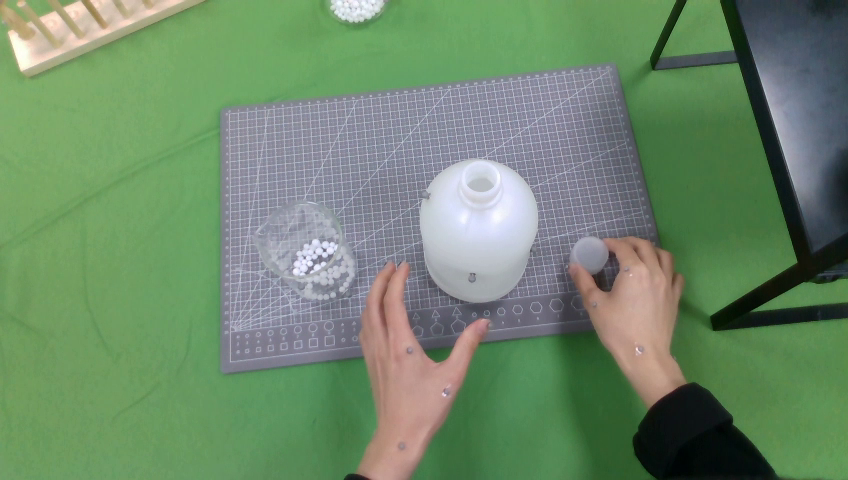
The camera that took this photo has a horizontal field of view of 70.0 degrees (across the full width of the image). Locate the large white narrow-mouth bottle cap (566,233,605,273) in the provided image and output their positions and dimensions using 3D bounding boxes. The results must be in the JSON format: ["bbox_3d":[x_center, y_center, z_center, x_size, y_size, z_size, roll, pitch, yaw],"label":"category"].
[{"bbox_3d":[0.161,0.013,0.604,0.038,0.024,0.037,-1,72,4],"label":"large white narrow-mouth bottle cap"}]

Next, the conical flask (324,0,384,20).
[{"bbox_3d":[-0.086,-0.312,0.674,0.075,0.122,0.075,-1,71,3],"label":"conical flask"}]

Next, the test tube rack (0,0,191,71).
[{"bbox_3d":[-0.381,-0.293,0.698,0.242,0.086,0.066,-27,72,-7],"label":"test tube rack"}]

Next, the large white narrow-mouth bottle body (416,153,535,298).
[{"bbox_3d":[0.045,-0.017,0.530,0.102,0.196,0.101,-1,71,4],"label":"large white narrow-mouth bottle body"}]

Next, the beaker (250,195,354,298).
[{"bbox_3d":[-0.111,0.011,0.576,0.084,0.101,0.073,4,71,5],"label":"beaker"}]
